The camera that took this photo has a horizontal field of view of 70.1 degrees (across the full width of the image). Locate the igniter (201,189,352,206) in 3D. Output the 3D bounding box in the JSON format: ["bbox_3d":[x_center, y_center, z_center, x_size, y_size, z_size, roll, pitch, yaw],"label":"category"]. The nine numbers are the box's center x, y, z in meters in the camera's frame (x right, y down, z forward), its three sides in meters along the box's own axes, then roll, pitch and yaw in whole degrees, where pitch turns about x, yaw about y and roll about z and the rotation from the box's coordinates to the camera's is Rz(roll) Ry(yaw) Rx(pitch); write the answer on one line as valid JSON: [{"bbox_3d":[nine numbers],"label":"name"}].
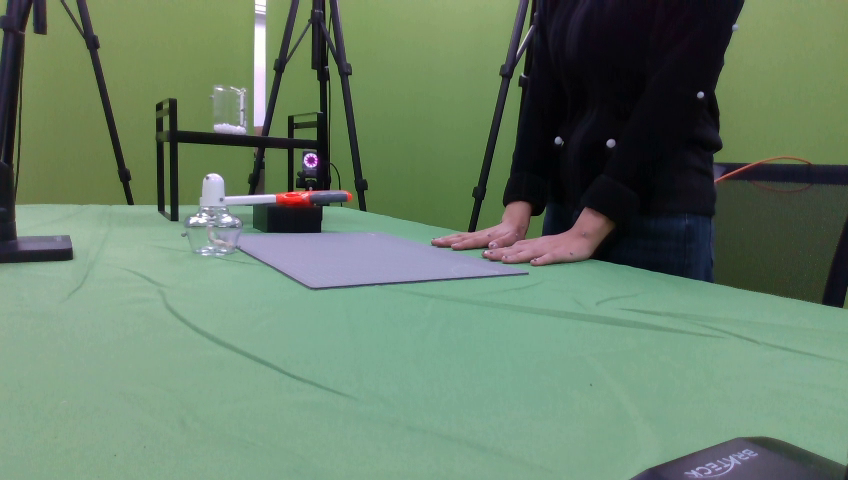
[{"bbox_3d":[-0.271,-0.078,1.139,0.278,0.025,0.057,-5,10,-28],"label":"igniter"}]

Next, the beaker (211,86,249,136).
[{"bbox_3d":[-0.413,-0.274,1.297,0.074,0.100,0.083,-5,11,-44],"label":"beaker"}]

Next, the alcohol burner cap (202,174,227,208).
[{"bbox_3d":[-0.293,-0.068,0.847,0.034,0.048,0.034,0,6,0],"label":"alcohol burner cap"}]

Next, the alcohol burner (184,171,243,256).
[{"bbox_3d":[-0.296,-0.038,0.851,0.078,0.119,0.078,2,5,0],"label":"alcohol burner"}]
